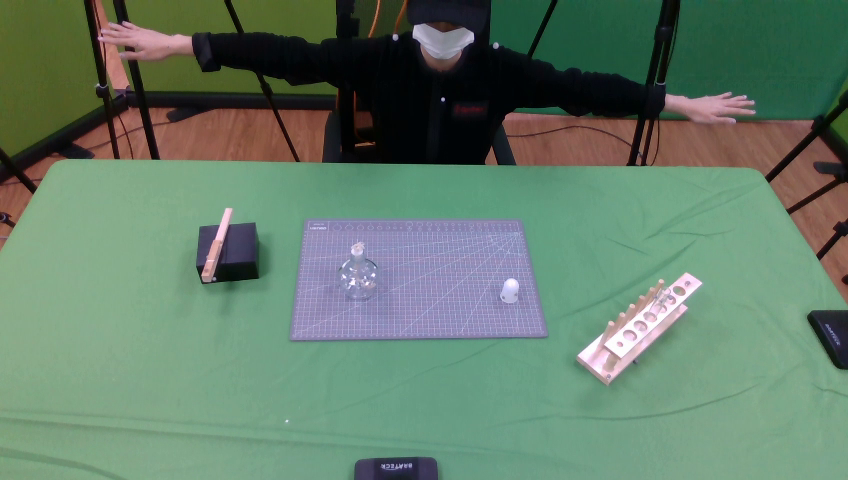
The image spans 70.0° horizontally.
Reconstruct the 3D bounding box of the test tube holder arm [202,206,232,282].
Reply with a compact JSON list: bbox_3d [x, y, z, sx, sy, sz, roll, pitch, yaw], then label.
[{"bbox_3d":[-0.373,0.004,1.099,0.015,0.013,0.177,1,47,-1],"label":"test tube holder arm"}]

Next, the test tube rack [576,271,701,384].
[{"bbox_3d":[0.373,0.138,1.047,0.242,0.085,0.066,-31,56,-29],"label":"test tube rack"}]

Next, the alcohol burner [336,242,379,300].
[{"bbox_3d":[-0.118,0.050,1.072,0.078,0.120,0.077,2,44,-1],"label":"alcohol burner"}]

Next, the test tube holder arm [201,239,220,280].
[{"bbox_3d":[-0.374,0.033,1.064,0.015,0.010,0.087,1,47,-1],"label":"test tube holder arm"}]

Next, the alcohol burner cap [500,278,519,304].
[{"bbox_3d":[0.157,0.090,1.104,0.034,0.048,0.033,2,46,-2],"label":"alcohol burner cap"}]

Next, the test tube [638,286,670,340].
[{"bbox_3d":[0.373,0.123,0.994,0.017,0.151,0.017,0,51,0],"label":"test tube"}]
